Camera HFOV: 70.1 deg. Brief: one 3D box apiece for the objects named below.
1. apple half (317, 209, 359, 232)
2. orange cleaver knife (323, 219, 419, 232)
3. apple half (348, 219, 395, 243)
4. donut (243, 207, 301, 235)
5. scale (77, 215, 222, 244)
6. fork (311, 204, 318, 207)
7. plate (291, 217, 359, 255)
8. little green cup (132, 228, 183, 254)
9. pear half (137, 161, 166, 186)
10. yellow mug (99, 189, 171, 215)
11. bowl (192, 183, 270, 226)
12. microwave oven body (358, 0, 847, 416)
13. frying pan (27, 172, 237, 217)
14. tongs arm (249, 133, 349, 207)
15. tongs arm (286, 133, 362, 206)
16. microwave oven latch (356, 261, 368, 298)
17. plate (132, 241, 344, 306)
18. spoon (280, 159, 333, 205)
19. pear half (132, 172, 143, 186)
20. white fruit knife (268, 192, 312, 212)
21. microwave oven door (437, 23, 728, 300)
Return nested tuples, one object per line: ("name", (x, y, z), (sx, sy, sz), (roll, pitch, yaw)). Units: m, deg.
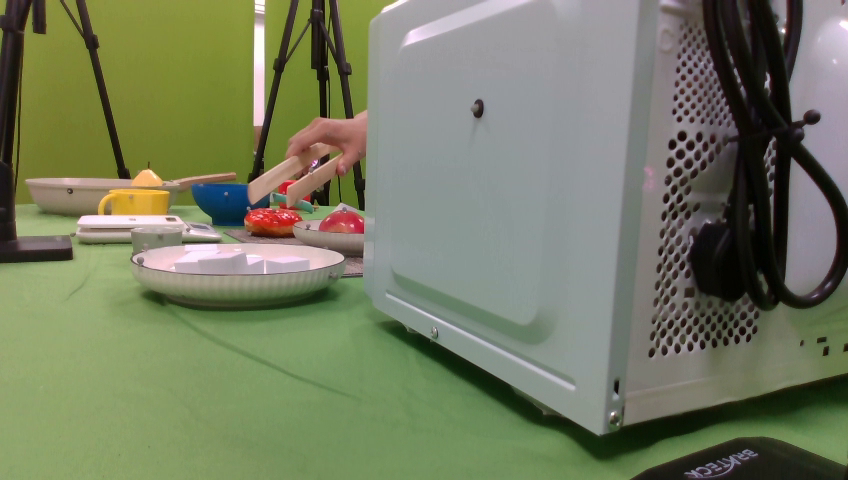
("apple half", (-0.121, -0.020, 0.900), (0.080, 0.053, 0.075), (3, 10, 14))
("orange cleaver knife", (-0.096, -0.027, 1.152), (0.077, 0.012, 0.212), (2, 7, 41))
("apple half", (-0.083, -0.017, 0.967), (0.081, 0.033, 0.081), (5, 9, 0))
("donut", (-0.262, -0.032, 1.043), (0.099, 0.048, 0.099), (5, 9, 0))
("scale", (-0.434, -0.019, 0.963), (0.202, 0.031, 0.148), (-1, 9, -27))
("fork", (-0.356, -0.105, 1.526), (0.208, 0.018, 0.028), (16, -5, -41))
("plate", (-0.098, -0.007, 0.928), (0.209, 0.038, 0.209), (3, 8, 0))
("little green cup", (-0.342, 0.006, 0.779), (0.061, 0.038, 0.061), (2, 8, 0))
("pear half", (-0.602, -0.120, 1.354), (0.056, 0.110, 0.076), (4, 11, 6))
("yellow mug", (-0.518, -0.055, 1.080), (0.099, 0.064, 0.131), (7, 9, 26))
("bowl", (-0.382, -0.071, 1.202), (0.151, 0.077, 0.151), (3, 7, 0))
("microwave oven body", (0.211, -0.047, 0.475), (0.444, 0.260, 0.324), (-1, 7, -28))
("frying pan", (-0.624, -0.118, 1.387), (0.305, 0.102, 0.490), (8, 17, 32))
("tongs arm", (-0.170, -0.111, 0.873), (0.028, 0.028, 0.387), (-5, 18, 10))
("tongs arm", (-0.142, -0.112, 0.870), (0.050, 0.026, 0.385), (0, 19, 11))
("microwave oven latch", (-0.019, 0.033, 0.530), (0.079, 0.029, 0.030), (-1, 7, -26))
("plate", (-0.187, 0.033, 0.625), (0.208, 0.039, 0.207), (2, 8, 0))
("spoon", (-0.317, -0.159, 1.640), (0.194, 0.022, 0.041), (-49, 32, -20))
("pear half", (-0.638, -0.113, 1.360), (0.031, 0.088, 0.070), (5, 10, 4))
("white fruit knife", (-0.364, -0.105, 1.464), (0.208, 0.027, 0.016), (15, 0, -34))
("microwave oven door", (0.181, -0.072, 0.621), (0.358, 0.243, 0.039), (-2, 8, -29))
